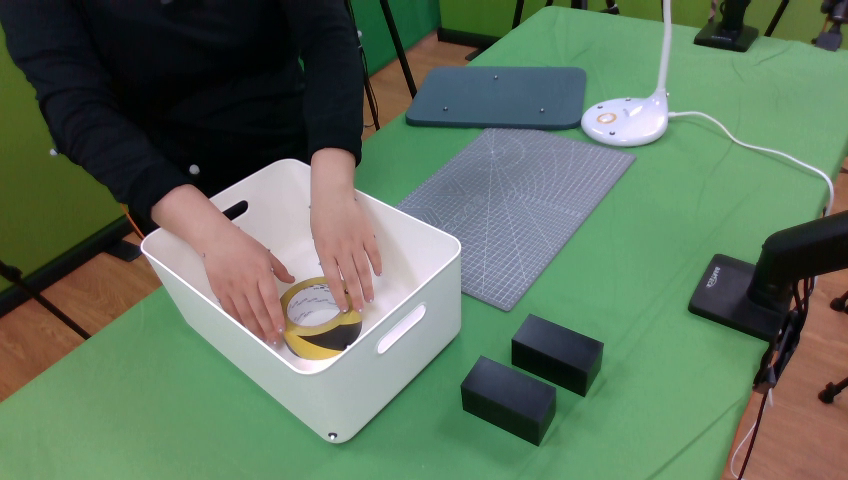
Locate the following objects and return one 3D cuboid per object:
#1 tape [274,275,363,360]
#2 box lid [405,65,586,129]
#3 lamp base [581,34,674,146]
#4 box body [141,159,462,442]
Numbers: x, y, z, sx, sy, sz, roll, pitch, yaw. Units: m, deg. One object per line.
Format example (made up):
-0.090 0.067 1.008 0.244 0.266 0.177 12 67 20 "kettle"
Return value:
-0.144 0.106 0.833 0.117 0.053 0.116 -4 41 4 "tape"
0.163 -0.317 1.322 0.370 0.015 0.263 5 42 14 "box lid"
0.392 -0.291 1.129 0.180 0.181 0.159 -11 41 -8 "lamp base"
-0.153 0.063 0.809 0.361 0.161 0.255 27 51 33 "box body"
